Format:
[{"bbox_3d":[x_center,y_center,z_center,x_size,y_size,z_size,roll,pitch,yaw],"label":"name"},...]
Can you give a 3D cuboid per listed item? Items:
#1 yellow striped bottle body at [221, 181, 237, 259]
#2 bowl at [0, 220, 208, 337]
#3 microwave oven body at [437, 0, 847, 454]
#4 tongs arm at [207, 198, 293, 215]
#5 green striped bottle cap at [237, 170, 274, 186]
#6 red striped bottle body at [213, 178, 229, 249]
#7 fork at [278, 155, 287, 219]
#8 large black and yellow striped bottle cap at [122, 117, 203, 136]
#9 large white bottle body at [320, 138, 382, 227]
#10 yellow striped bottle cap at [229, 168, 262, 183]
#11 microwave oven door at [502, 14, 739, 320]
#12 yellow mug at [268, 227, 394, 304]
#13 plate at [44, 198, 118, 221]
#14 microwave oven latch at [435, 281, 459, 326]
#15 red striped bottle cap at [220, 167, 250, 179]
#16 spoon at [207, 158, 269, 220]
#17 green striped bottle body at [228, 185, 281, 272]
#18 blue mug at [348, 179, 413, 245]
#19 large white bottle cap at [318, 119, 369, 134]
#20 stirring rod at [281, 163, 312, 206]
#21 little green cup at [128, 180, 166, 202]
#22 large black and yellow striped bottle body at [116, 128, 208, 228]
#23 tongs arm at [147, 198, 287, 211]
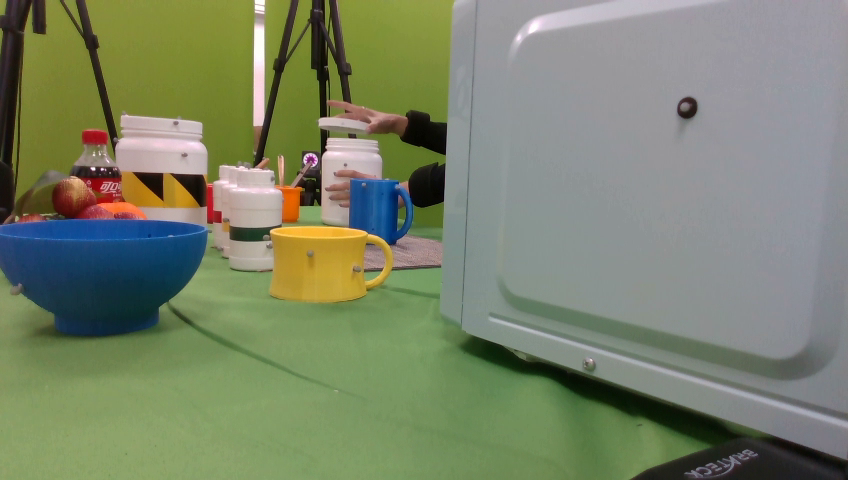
[{"bbox_3d":[-0.244,-0.036,0.823,0.063,0.120,0.063,2,8,0],"label":"yellow striped bottle body"},{"bbox_3d":[-0.251,0.030,0.479,0.151,0.077,0.151,2,7,0],"label":"bowl"},{"bbox_3d":[0.279,-0.040,0.464,0.444,0.260,0.324,-3,8,-41],"label":"microwave oven body"},{"bbox_3d":[-0.423,-0.084,1.472,0.050,0.026,0.386,2,6,21],"label":"tongs arm"},{"bbox_3d":[-0.205,-0.075,0.737,0.044,0.020,0.044,1,6,0],"label":"green striped bottle cap"},{"bbox_3d":[-0.284,-0.048,0.909,0.063,0.119,0.063,3,10,0],"label":"red striped bottle body"},{"bbox_3d":[-0.318,-0.120,1.342,0.028,0.018,0.206,0,52,-13],"label":"fork"},{"bbox_3d":[-0.399,-0.174,0.927,0.115,0.019,0.115,5,9,-1],"label":"large black and yellow striped bottle cap"},{"bbox_3d":[-0.157,-0.125,1.299,0.131,0.184,0.130,2,8,0],"label":"large white bottle body"},{"bbox_3d":[-0.240,-0.087,0.816,0.044,0.018,0.044,-3,5,1],"label":"yellow striped bottle cap"},{"bbox_3d":[0.217,-0.065,0.601,0.358,0.243,0.039,-4,10,-41],"label":"microwave oven door"},{"bbox_3d":[-0.094,0.023,0.630,0.131,0.064,0.099,0,8,-22],"label":"yellow mug"},{"bbox_3d":[-0.617,-0.056,1.179,0.209,0.038,0.209,3,7,0],"label":"plate"},{"bbox_3d":[0.044,0.046,0.470,0.079,0.029,0.030,-3,8,-40],"label":"microwave oven latch"},{"bbox_3d":[-0.281,-0.100,0.901,0.044,0.017,0.044,-1,4,0],"label":"red striped bottle cap"},{"bbox_3d":[-0.380,-0.108,1.251,0.041,0.022,0.194,4,51,39],"label":"spoon"},{"bbox_3d":[-0.208,-0.024,0.745,0.063,0.119,0.063,2,6,0],"label":"green striped bottle body"},{"bbox_3d":[-0.071,-0.047,1.002,0.116,0.106,0.082,7,9,26],"label":"blue mug"},{"bbox_3d":[-0.181,-0.253,1.358,0.115,0.018,0.115,6,3,0],"label":"large white bottle cap"},{"bbox_3d":[-0.292,-0.111,1.324,0.014,0.006,0.176,2,47,29],"label":"stirring rod"},{"bbox_3d":[-0.485,-0.087,1.062,0.061,0.038,0.061,0,6,0],"label":"little green cup"},{"bbox_3d":[-0.404,-0.089,0.937,0.131,0.184,0.130,3,7,0],"label":"large black and yellow striped bottle body"},{"bbox_3d":[-0.504,-0.091,1.513,0.028,0.028,0.389,-1,4,37],"label":"tongs arm"}]
